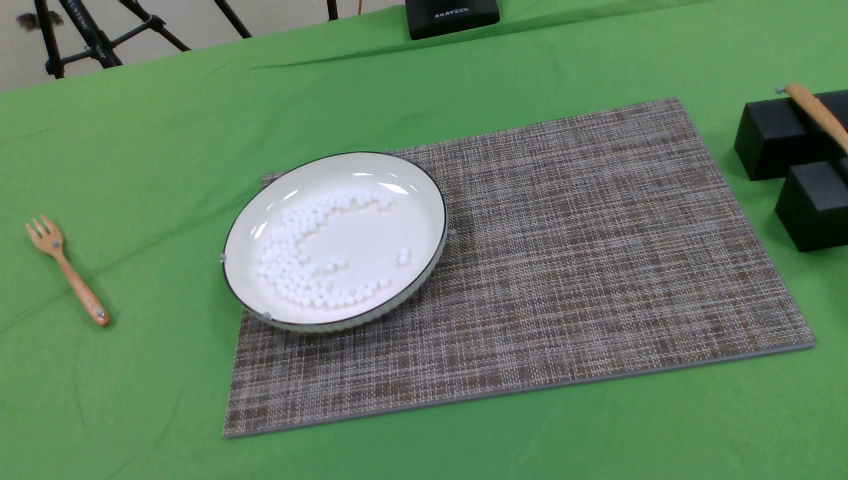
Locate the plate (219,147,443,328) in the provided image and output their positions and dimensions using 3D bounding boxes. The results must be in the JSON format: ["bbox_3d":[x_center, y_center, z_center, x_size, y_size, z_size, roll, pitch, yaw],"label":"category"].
[{"bbox_3d":[-0.083,-0.003,0.561,0.207,0.039,0.205,-6,50,8],"label":"plate"}]

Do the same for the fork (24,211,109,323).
[{"bbox_3d":[-0.366,0.025,0.619,0.028,0.019,0.205,-36,50,-25],"label":"fork"}]

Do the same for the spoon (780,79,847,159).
[{"bbox_3d":[0.331,-0.076,0.477,0.041,0.022,0.191,-26,45,21],"label":"spoon"}]
